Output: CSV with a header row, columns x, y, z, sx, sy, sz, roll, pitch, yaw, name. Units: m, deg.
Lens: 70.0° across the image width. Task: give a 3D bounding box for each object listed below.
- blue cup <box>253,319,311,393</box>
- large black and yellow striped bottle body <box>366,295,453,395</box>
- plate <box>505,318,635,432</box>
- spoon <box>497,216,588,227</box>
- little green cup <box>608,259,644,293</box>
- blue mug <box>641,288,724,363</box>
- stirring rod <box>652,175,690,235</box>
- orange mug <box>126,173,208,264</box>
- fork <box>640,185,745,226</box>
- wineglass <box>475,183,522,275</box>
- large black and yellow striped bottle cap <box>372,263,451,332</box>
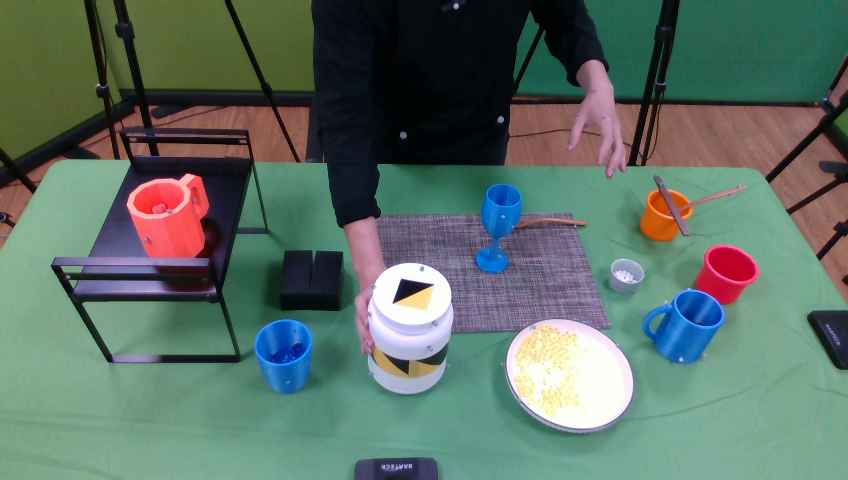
x,y,z,sx,sy,sz,roll,pitch,yaw,name
-0.217,0.187,0.943,0.093,0.101,0.092,3,45,-3,blue cup
-0.024,0.139,0.936,0.131,0.185,0.130,3,46,-3,large black and yellow striped bottle body
0.235,0.221,0.991,0.209,0.038,0.208,2,45,-2,plate
0.245,-0.039,1.247,0.194,0.022,0.041,-2,23,-6,spoon
0.379,0.070,1.147,0.061,0.039,0.061,3,45,-2,little green cup
0.432,0.144,1.033,0.116,0.106,0.082,8,46,5,blue mug
0.492,-0.072,1.211,0.014,0.006,0.175,0,46,-7,stirring rod
-0.371,-0.040,0.902,0.083,0.101,0.126,18,52,13,orange mug
0.534,-0.069,1.215,0.207,0.019,0.028,-26,27,33,fork
0.135,-0.020,1.115,0.074,0.173,0.073,2,46,-2,wineglass
-0.018,0.081,0.875,0.115,0.019,0.114,3,48,-3,large black and yellow striped bottle cap
